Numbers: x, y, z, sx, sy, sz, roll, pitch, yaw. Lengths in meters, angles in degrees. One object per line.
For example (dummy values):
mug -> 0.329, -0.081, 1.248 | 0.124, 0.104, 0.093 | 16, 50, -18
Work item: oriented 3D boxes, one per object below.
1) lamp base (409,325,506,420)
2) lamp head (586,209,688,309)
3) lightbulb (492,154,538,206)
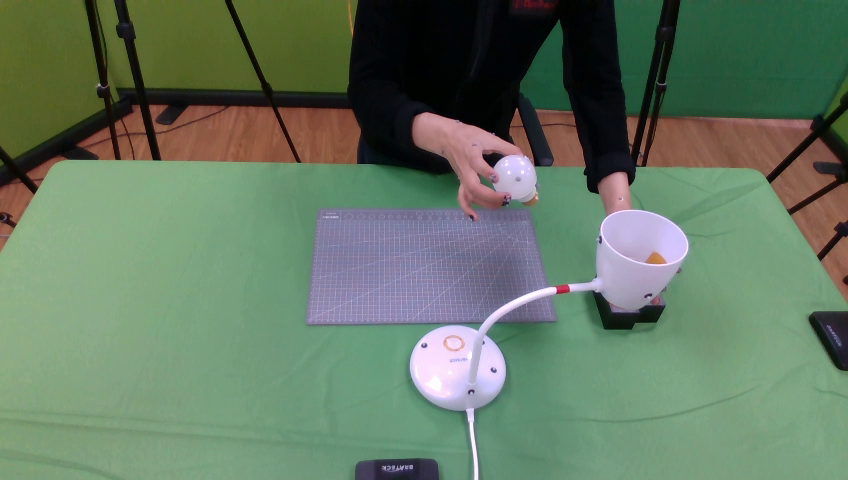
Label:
lamp base -> 0.064, 0.163, 0.938 | 0.161, 0.181, 0.178 | -11, 51, -14
lamp head -> 0.280, 0.037, 0.823 | 0.112, 0.123, 0.111 | 6, 40, -5
lightbulb -> 0.133, -0.077, 0.840 | 0.059, 0.108, 0.059 | -11, 64, 24
